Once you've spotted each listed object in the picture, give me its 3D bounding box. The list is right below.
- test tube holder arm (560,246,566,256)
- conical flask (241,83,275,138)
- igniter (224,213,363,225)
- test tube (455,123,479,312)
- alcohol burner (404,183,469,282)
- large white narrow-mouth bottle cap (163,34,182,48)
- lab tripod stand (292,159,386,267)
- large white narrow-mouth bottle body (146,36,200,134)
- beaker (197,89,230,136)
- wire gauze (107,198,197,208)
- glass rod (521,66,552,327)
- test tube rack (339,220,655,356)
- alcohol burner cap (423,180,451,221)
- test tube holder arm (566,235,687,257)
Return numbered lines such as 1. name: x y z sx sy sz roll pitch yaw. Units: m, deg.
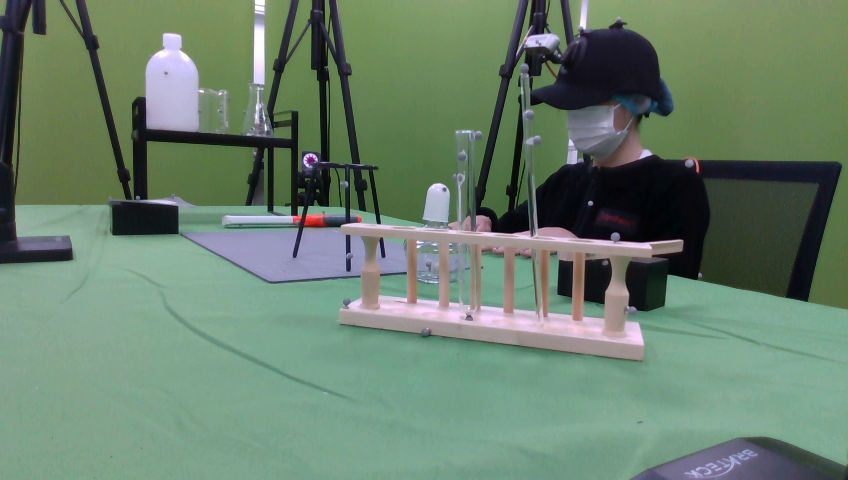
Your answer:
1. test tube holder arm: 0.173 0.007 0.611 0.088 0.015 0.010 -3 9 -30
2. conical flask: -0.383 -0.297 1.392 0.075 0.122 0.075 2 7 0
3. igniter: -0.255 -0.041 1.210 0.278 0.025 0.057 -2 -2 -31
4. test tube: 0.034 -0.016 0.476 0.017 0.150 0.017 -2 10 1
5. alcohol burner: 0.015 -0.011 0.715 0.078 0.119 0.078 0 7 0
6. large white narrow-mouth bottle cap: -0.514 -0.404 1.233 0.038 0.024 0.037 2 7 0
7. lab tripod stand: -0.105 -0.039 0.798 0.148 0.131 0.148 2 5 0
8. large white narrow-mouth bottle body: -0.516 -0.319 1.243 0.102 0.194 0.102 2 7 0
9. beaker: -0.472 -0.283 1.353 0.074 0.100 0.083 -4 10 -35
10. wire gauze: -0.462 -0.064 1.023 0.126 0.011 0.121 -2 7 -32
11. glass rod: 0.085 -0.028 0.454 0.008 0.199 0.008 -7 10 2
12. test tube rack: 0.056 0.032 0.495 0.242 0.085 0.067 4 7 15
13. alcohol burner cap: 0.017 -0.047 0.711 0.034 0.048 0.034 8 5 0
14. test tube holder arm: 0.215 0.006 0.629 0.179 0.015 0.013 -3 9 -30
